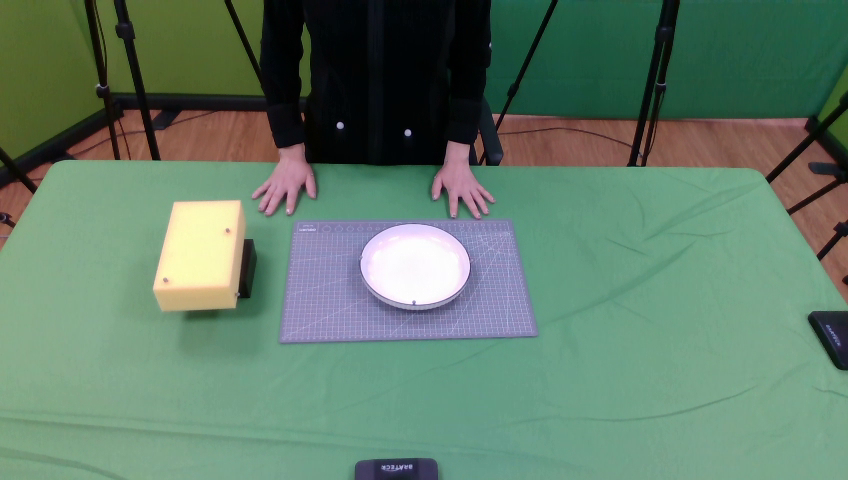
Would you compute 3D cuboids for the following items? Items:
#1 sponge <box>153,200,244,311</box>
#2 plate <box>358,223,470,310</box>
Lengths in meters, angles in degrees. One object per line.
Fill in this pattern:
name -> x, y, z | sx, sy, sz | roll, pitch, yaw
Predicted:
sponge -> -0.384, 0.022, 1.051 | 0.118, 0.061, 0.205 | -3, 47, -7
plate -> -0.019, 0.052, 1.132 | 0.209, 0.038, 0.208 | 2, 46, -2
